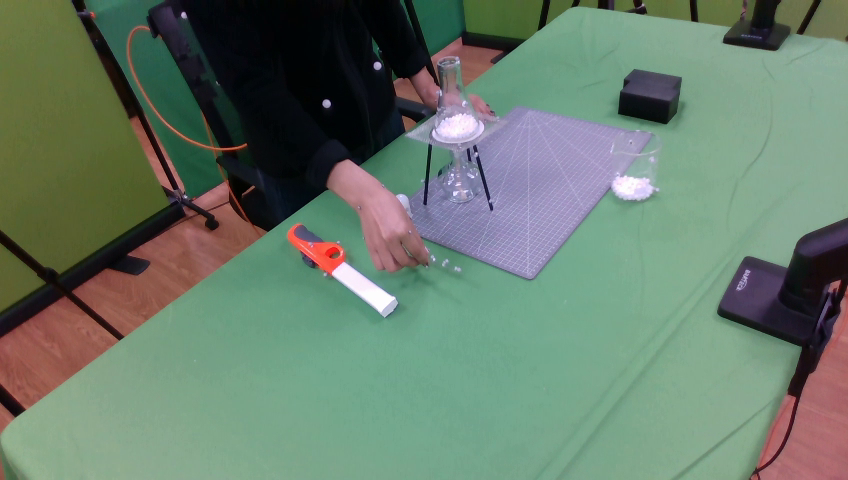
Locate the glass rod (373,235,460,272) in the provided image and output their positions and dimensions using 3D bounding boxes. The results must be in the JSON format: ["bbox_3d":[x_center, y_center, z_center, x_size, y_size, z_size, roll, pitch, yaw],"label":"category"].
[{"bbox_3d":[-0.017,0.019,0.952,0.008,0.008,0.198,-38,39,-29],"label":"glass rod"}]

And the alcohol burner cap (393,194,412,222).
[{"bbox_3d":[-0.039,-0.057,1.039,0.034,0.048,0.033,-5,39,5],"label":"alcohol burner cap"}]

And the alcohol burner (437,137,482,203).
[{"bbox_3d":[0.060,-0.125,1.045,0.078,0.119,0.077,-5,39,4],"label":"alcohol burner"}]

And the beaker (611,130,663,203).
[{"bbox_3d":[0.346,-0.118,0.998,0.084,0.101,0.073,-17,40,-7],"label":"beaker"}]

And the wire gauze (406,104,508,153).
[{"bbox_3d":[0.054,-0.183,0.997,0.120,0.011,0.125,25,53,38],"label":"wire gauze"}]

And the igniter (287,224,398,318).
[{"bbox_3d":[-0.139,0.042,0.958,0.057,0.025,0.274,-42,49,-19],"label":"igniter"}]

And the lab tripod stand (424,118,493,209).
[{"bbox_3d":[0.061,-0.133,1.039,0.148,0.132,0.147,-6,39,6],"label":"lab tripod stand"}]

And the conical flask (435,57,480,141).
[{"bbox_3d":[0.046,-0.225,0.955,0.075,0.122,0.075,-7,39,6],"label":"conical flask"}]
